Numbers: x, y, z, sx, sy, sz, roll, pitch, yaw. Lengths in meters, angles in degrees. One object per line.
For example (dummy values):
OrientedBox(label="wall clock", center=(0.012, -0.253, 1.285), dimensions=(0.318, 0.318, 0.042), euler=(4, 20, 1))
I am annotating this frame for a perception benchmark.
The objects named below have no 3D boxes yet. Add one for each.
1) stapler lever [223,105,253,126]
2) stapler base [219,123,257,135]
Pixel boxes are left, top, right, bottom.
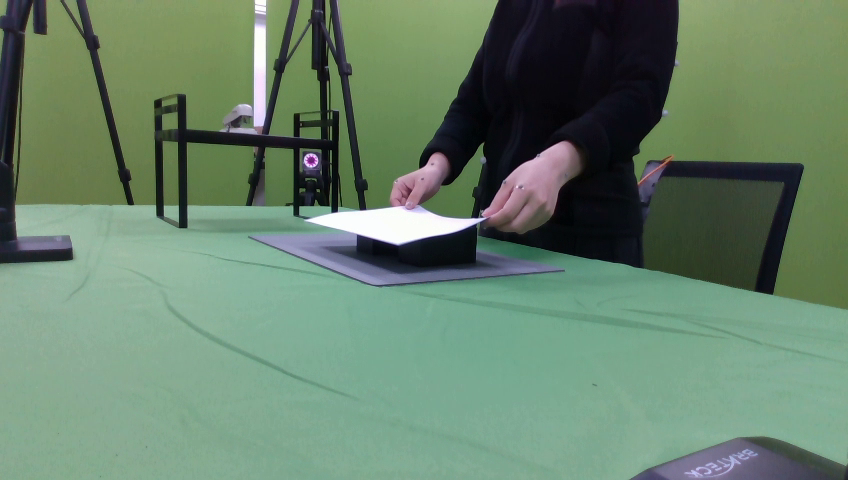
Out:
OrientedBox(label="stapler lever", center=(-0.376, -0.250, 1.219), dimensions=(0.027, 0.040, 0.117), euler=(1, 6, -36))
OrientedBox(label="stapler base", center=(-0.375, -0.226, 1.221), dimensions=(0.041, 0.024, 0.130), euler=(1, 5, -36))
